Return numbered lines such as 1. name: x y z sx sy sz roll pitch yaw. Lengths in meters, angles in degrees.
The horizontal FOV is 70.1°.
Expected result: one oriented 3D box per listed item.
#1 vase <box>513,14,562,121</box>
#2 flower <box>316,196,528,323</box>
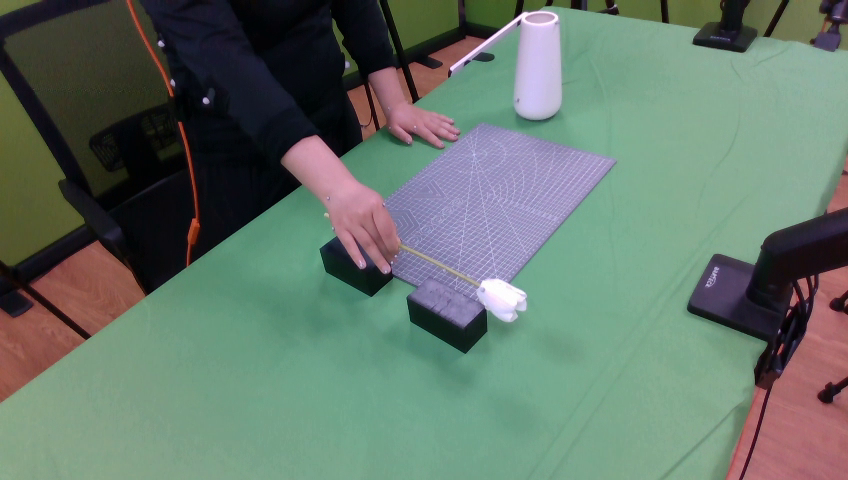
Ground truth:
1. vase: 0.225 -0.336 1.196 0.098 0.201 0.097 -5 42 5
2. flower: -0.021 0.011 0.811 0.359 0.038 0.044 28 92 29
